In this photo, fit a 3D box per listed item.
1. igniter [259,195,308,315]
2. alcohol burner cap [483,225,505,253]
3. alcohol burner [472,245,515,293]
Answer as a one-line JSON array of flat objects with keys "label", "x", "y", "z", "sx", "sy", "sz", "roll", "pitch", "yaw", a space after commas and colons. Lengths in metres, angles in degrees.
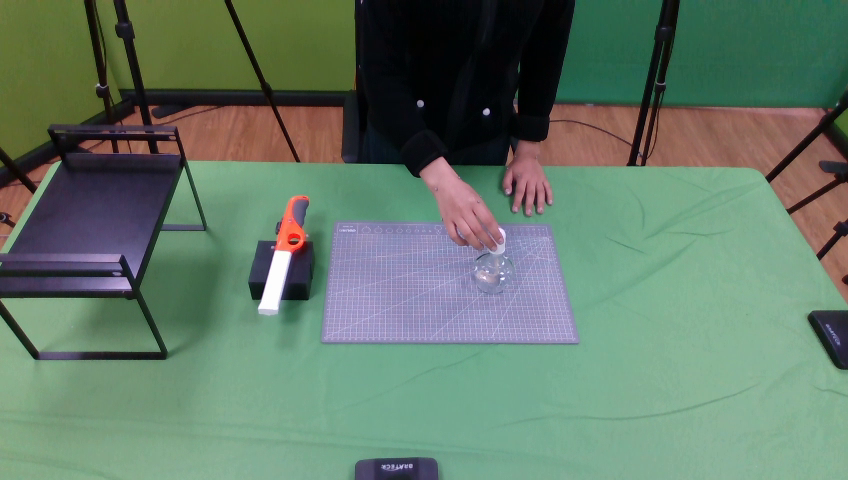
[{"label": "igniter", "x": -0.252, "y": 0.016, "z": 1.094, "sx": 0.057, "sy": 0.025, "sz": 0.275, "roll": 6, "pitch": 48, "yaw": -3}, {"label": "alcohol burner cap", "x": 0.124, "y": -0.004, "z": 1.055, "sx": 0.034, "sy": 0.048, "sz": 0.033, "roll": 9, "pitch": 39, "yaw": -7}, {"label": "alcohol burner", "x": 0.128, "y": 0.041, "z": 1.102, "sx": 0.078, "sy": 0.120, "sz": 0.077, "roll": 1, "pitch": 47, "yaw": -1}]
